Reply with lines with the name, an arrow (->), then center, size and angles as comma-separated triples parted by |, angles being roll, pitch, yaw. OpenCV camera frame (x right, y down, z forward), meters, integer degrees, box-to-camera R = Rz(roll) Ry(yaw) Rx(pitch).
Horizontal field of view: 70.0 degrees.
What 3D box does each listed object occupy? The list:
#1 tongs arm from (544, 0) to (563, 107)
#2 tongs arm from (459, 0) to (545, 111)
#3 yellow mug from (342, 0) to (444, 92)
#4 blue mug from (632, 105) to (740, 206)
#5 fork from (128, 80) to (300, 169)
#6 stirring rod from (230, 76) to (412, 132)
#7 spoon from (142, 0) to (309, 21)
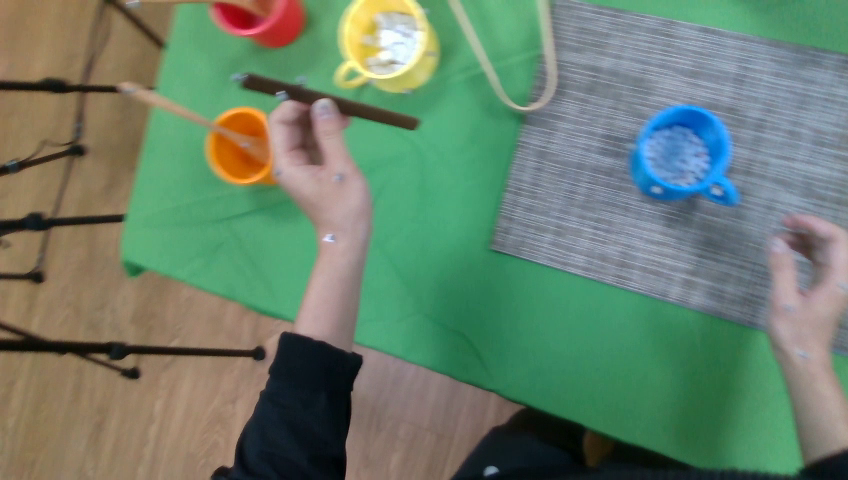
tongs arm -> 0.123, -0.347, 0.679 | 0.028, 0.028, 0.388 | -8, 95, 5
tongs arm -> 0.044, -0.322, 0.694 | 0.051, 0.026, 0.385 | -22, 92, 9
yellow mug -> -0.044, -0.224, 0.720 | 0.131, 0.064, 0.099 | -36, 83, 12
blue mug -> 0.275, -0.076, 0.624 | 0.116, 0.106, 0.082 | 43, 98, 9
fork -> -0.244, -0.136, 0.721 | 0.209, 0.018, 0.028 | 25, 95, -32
stirring rod -> -0.078, -0.112, 0.509 | 0.005, 0.177, 0.014 | 52, 123, 36
spoon -> -0.233, -0.286, 0.722 | 0.195, 0.021, 0.041 | -8, 86, -31
